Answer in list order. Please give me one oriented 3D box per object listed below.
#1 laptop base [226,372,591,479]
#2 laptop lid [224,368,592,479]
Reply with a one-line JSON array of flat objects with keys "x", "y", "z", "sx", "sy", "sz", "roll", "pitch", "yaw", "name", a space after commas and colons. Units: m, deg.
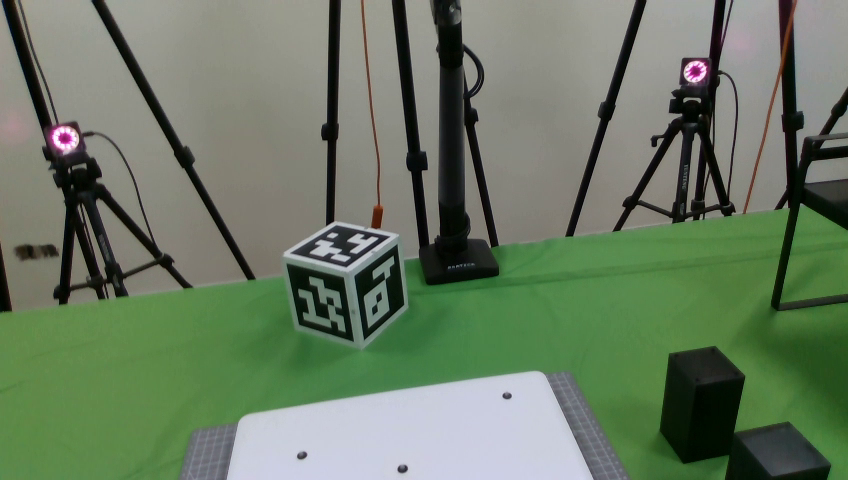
[{"x": -0.021, "y": 0.234, "z": 0.604, "sx": 0.355, "sy": 0.023, "sz": 0.233, "roll": -7, "pitch": 29, "yaw": -5, "name": "laptop base"}, {"x": -0.021, "y": 0.224, "z": 0.596, "sx": 0.357, "sy": 0.013, "sz": 0.239, "roll": -6, "pitch": 28, "yaw": -3, "name": "laptop lid"}]
